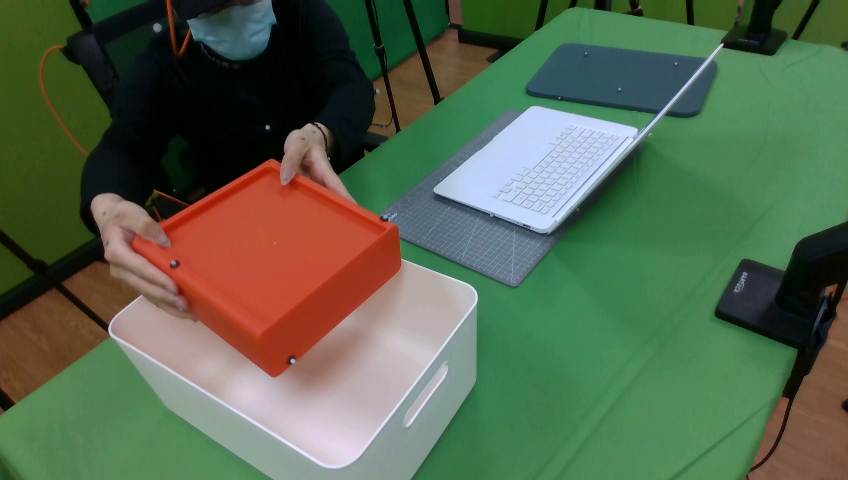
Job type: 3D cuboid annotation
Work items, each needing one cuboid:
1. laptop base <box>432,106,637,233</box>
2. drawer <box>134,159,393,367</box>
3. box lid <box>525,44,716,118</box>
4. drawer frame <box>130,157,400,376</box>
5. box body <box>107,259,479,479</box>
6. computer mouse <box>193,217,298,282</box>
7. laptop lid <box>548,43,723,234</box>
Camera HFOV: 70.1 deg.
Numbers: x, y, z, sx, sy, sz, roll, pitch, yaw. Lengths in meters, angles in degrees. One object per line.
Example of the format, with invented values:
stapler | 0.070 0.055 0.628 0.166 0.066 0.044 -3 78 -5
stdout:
laptop base | 0.210 -0.142 1.111 0.233 0.023 0.355 21 48 33
drawer | -0.174 0.015 0.680 0.210 0.073 0.195 28 49 28
box lid | 0.432 -0.360 1.341 0.369 0.015 0.263 16 45 24
drawer frame | -0.171 0.016 0.677 0.212 0.083 0.202 28 50 27
box body | -0.140 0.136 0.725 0.361 0.161 0.254 19 47 28
computer mouse | -0.208 0.003 0.705 0.118 0.041 0.062 -29 38 -33
laptop lid | 0.336 -0.160 0.956 0.013 0.241 0.358 42 54 8
